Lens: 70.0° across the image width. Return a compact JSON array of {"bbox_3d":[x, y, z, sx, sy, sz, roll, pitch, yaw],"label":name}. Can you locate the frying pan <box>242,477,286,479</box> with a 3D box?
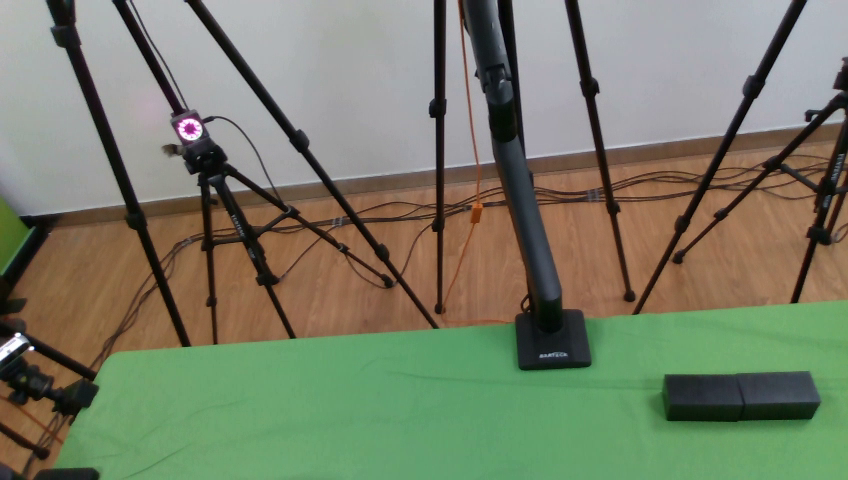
[{"bbox_3d":[-0.235,0.531,0.723,0.307,0.104,0.483,-10,36,5],"label":"frying pan"}]
